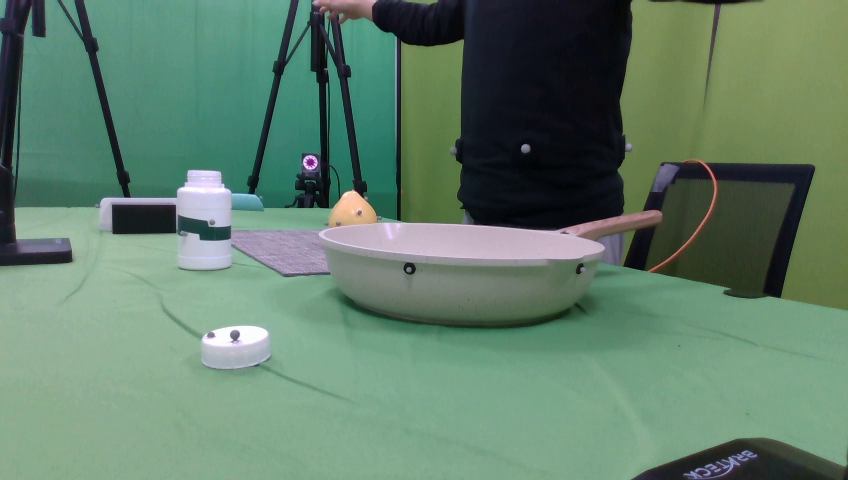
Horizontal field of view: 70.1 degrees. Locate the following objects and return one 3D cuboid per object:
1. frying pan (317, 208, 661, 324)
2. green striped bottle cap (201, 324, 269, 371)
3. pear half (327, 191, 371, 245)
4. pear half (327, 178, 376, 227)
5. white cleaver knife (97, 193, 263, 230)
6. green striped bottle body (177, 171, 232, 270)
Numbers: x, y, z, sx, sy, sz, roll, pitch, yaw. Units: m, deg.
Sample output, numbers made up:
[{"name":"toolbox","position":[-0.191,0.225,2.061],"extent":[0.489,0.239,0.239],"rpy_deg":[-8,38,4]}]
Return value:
[{"name":"frying pan","position":[0.121,0.006,0.691],"extent":[0.490,0.102,0.305],"rpy_deg":[-13,15,-33]},{"name":"green striped bottle cap","position":[-0.129,0.073,0.415],"extent":[0.044,0.020,0.044],"rpy_deg":[2,8,0]},{"name":"pear half","position":[-0.124,-0.037,0.976],"extent":[0.071,0.088,0.031],"rpy_deg":[-6,11,-25]},{"name":"pear half","position":[-0.109,-0.042,0.942],"extent":[0.077,0.110,0.055],"rpy_deg":[-7,10,-25]},{"name":"white cleaver knife","position":[-0.444,-0.053,1.121],"extent":[0.288,0.066,0.021],"rpy_deg":[-4,16,-27]},{"name":"green striped bottle body","position":[-0.273,-0.026,0.753],"extent":[0.063,0.119,0.063],"rpy_deg":[2,7,0]}]
